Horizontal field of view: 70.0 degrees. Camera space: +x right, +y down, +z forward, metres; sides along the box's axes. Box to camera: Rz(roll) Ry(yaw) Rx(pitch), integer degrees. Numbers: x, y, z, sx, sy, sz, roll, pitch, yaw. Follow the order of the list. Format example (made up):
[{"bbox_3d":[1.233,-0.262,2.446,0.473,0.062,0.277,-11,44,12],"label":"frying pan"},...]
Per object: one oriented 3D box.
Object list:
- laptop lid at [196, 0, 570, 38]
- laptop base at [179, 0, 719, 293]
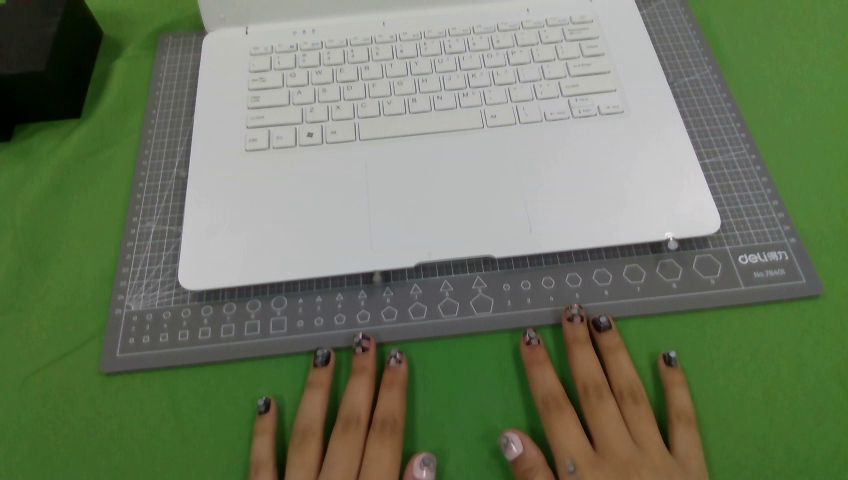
[{"bbox_3d":[-0.014,-0.282,0.448,0.357,0.243,0.013,-8,31,-1],"label":"laptop lid"},{"bbox_3d":[0.007,-0.082,0.449,0.354,0.023,0.233,-6,62,-2],"label":"laptop base"}]
